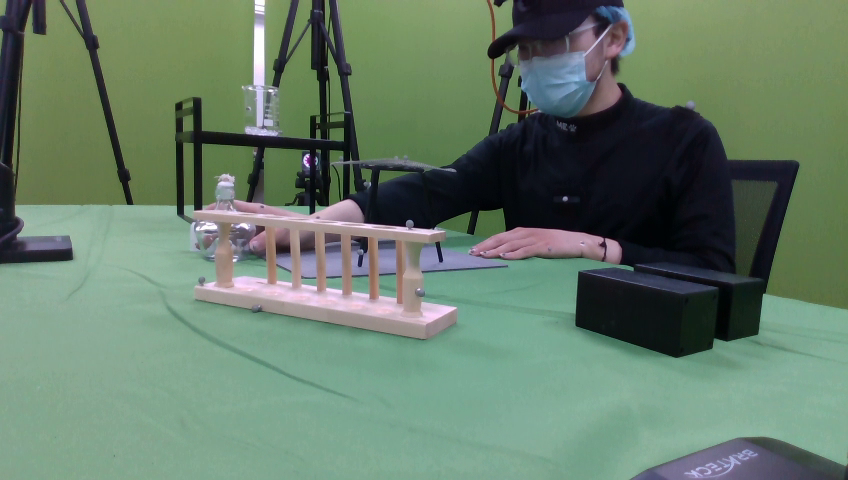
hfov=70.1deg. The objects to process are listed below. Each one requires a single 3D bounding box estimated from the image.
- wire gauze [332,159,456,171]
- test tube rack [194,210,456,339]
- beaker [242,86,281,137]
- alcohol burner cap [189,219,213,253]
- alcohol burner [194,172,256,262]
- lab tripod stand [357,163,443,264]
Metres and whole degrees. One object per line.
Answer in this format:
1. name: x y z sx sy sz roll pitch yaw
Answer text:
1. wire gauze: -0.042 -0.104 0.819 0.126 0.011 0.121 -3 9 -44
2. test tube rack: -0.093 0.023 0.545 0.241 0.085 0.067 6 8 25
3. beaker: -0.338 -0.265 1.252 0.073 0.100 0.084 8 9 38
4. alcohol burner cap: -0.322 -0.006 0.874 0.034 0.048 0.034 3 7 0
5. alcohol burner: -0.264 -0.031 0.801 0.078 0.119 0.078 1 8 0
6. lab tripod stand: -0.044 -0.038 0.830 0.148 0.131 0.148 4 6 0
